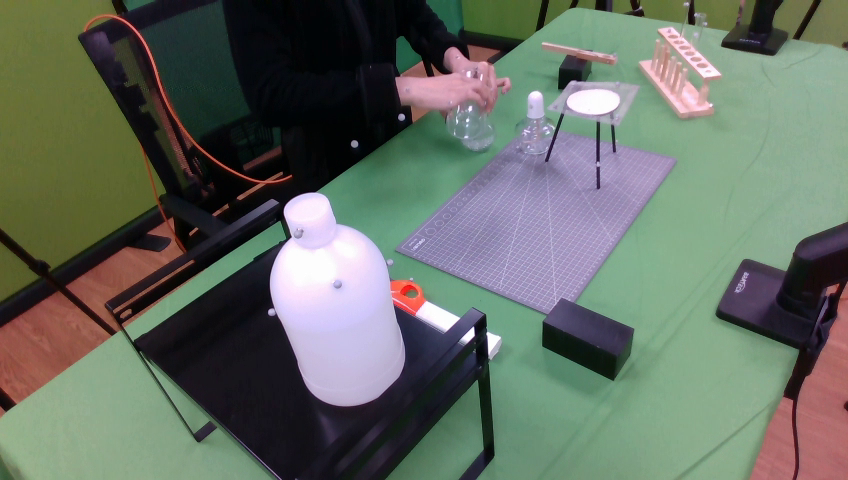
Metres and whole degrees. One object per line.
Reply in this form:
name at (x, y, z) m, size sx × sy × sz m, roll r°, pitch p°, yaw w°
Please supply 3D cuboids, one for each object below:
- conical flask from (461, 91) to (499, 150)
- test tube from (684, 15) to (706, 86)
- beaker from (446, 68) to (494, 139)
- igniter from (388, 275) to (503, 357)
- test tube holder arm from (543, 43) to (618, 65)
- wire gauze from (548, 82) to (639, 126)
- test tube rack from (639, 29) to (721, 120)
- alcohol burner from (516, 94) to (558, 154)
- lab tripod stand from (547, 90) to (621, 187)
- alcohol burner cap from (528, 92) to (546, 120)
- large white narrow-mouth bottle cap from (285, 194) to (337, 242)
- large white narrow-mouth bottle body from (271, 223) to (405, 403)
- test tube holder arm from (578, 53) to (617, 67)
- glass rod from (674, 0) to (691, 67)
conical flask at (0.099, -0.229, 1.144) m, size 0.075 × 0.122 × 0.075 m, roll -4°, pitch 68°, yaw 10°
test tube at (0.541, -0.378, 1.215) m, size 0.017 × 0.151 × 0.017 m, roll -2°, pitch 44°, yaw 3°
beaker at (0.077, -0.228, 1.033) m, size 0.074 × 0.084 × 0.100 m, roll 5°, pitch 58°, yaw 8°
igniter at (-0.008, 0.093, 0.870) m, size 0.274 × 0.025 × 0.057 m, roll 24°, pitch 60°, yaw 33°
test tube holder arm at (0.344, -0.413, 1.340) m, size 0.177 × 0.015 × 0.013 m, roll 25°, pitch 51°, yaw 31°
wire gauze at (0.286, -0.235, 1.019) m, size 0.124 × 0.011 × 0.121 m, roll 16°, pitch 46°, yaw 28°
test tube rack at (0.527, -0.351, 1.262) m, size 0.067 × 0.085 × 0.241 m, roll -8°, pitch 40°, yaw 1°
alcohol burner at (0.212, -0.221, 1.134) m, size 0.078 × 0.119 × 0.077 m, roll -5°, pitch 43°, yaw 5°
lab tripod stand at (0.289, -0.184, 1.062) m, size 0.148 × 0.132 × 0.147 m, roll -6°, pitch 41°, yaw 6°
alcohol burner cap at (0.206, -0.249, 1.112) m, size 0.034 × 0.048 × 0.033 m, roll -6°, pitch 36°, yaw 5°
large white narrow-mouth bottle cap at (-0.087, -0.018, 0.467) m, size 0.038 × 0.024 × 0.037 m, roll -4°, pitch 40°, yaw 4°
large white narrow-mouth bottle body at (-0.077, 0.048, 0.525) m, size 0.102 × 0.195 × 0.101 m, roll -5°, pitch 40°, yaw 5°
test tube holder arm at (0.376, -0.393, 1.314) m, size 0.087 × 0.015 × 0.010 m, roll 26°, pitch 51°, yaw 32°
glass rod at (0.537, -0.437, 1.257) m, size 0.008 × 0.200 × 0.008 m, roll 0°, pitch 39°, yaw 1°
